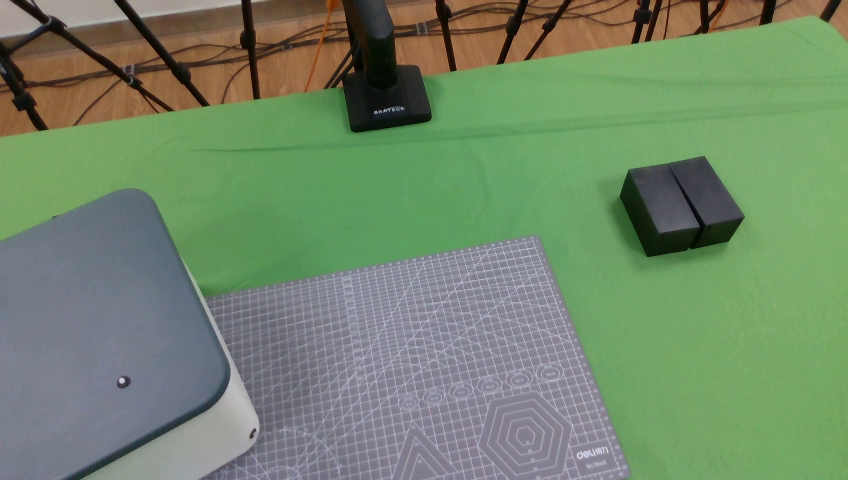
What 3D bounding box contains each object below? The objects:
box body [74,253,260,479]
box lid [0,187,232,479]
[{"bbox_3d":[-0.369,0.151,0.567,0.364,0.162,0.251,-28,59,-16],"label":"box body"},{"bbox_3d":[-0.370,0.108,0.506,0.372,0.015,0.260,-27,59,-16],"label":"box lid"}]
